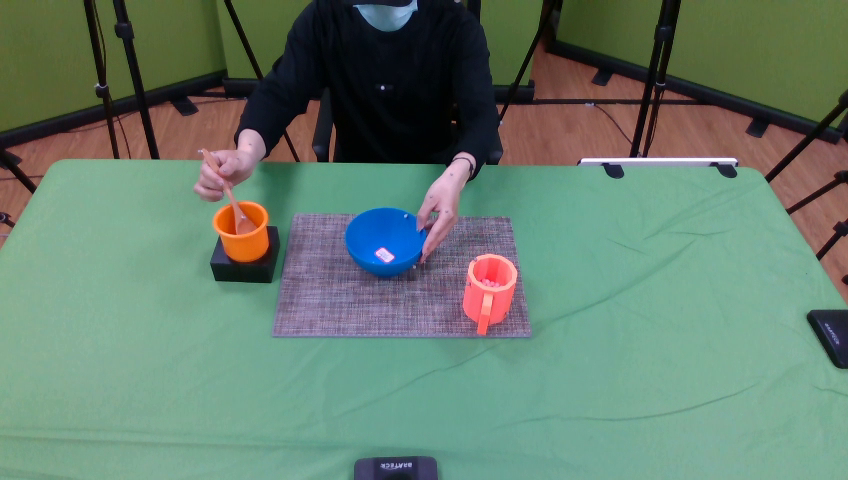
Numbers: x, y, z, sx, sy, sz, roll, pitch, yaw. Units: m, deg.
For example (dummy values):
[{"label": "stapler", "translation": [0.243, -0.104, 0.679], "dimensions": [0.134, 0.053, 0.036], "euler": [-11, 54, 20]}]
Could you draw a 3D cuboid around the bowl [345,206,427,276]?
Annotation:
[{"label": "bowl", "translation": [-0.070, 0.015, 1.132], "dimensions": [0.151, 0.077, 0.150], "euler": [1, 46, -1]}]

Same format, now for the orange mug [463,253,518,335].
[{"label": "orange mug", "translation": [0.112, 0.098, 1.050], "dimensions": [0.083, 0.101, 0.125], "euler": [10, 41, 6]}]

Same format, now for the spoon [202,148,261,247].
[{"label": "spoon", "translation": [-0.341, -0.075, 1.070], "dimensions": [0.041, 0.194, 0.021], "euler": [-30, 11, -39]}]
